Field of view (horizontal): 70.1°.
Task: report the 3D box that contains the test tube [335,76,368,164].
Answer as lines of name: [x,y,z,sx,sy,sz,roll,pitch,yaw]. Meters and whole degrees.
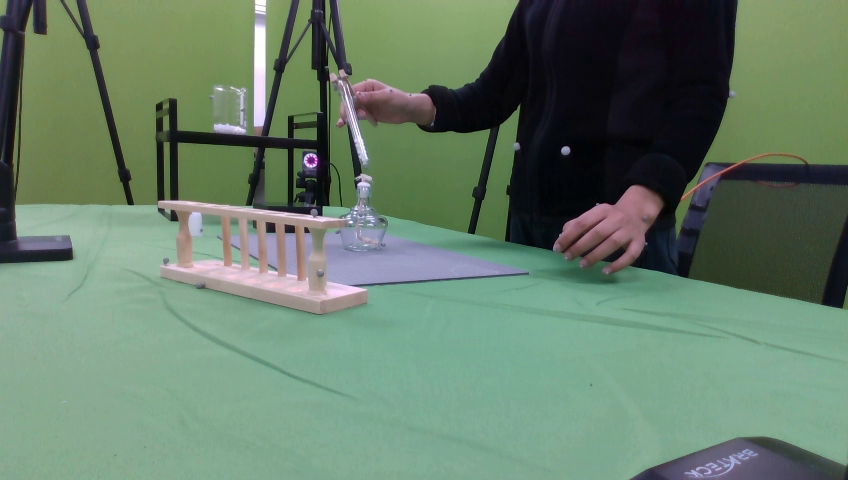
test tube: [-0.111,-0.186,0.934,0.017,0.150,0.017,-16,-13,-4]

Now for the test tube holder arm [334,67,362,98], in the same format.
test tube holder arm: [-0.121,-0.249,0.970,0.010,0.015,0.088,-37,-21,3]

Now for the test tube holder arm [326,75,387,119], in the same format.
test tube holder arm: [-0.109,-0.237,1.012,0.013,0.015,0.179,-41,-22,13]

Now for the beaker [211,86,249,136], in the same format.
beaker: [-0.413,-0.274,1.297,0.074,0.100,0.083,-5,11,-44]

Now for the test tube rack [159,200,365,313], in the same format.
test tube rack: [-0.173,0.009,0.624,0.241,0.085,0.067,7,9,34]

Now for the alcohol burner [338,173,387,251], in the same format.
alcohol burner: [-0.094,-0.043,0.926,0.078,0.119,0.078,3,6,0]

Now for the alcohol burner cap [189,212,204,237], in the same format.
alcohol burner cap: [-0.389,-0.029,1.025,0.034,0.048,0.034,2,9,0]
